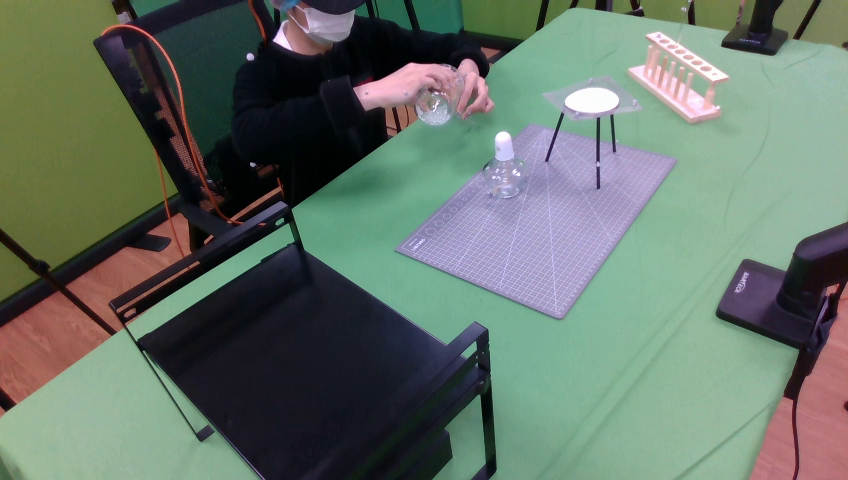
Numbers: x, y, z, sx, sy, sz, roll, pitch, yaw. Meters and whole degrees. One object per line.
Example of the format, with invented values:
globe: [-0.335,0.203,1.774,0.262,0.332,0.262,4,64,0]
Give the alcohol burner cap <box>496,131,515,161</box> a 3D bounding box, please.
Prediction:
alcohol burner cap: [0.135,-0.160,1.019,0.034,0.048,0.033,-8,37,6]

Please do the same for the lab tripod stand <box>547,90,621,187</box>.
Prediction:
lab tripod stand: [0.289,-0.184,1.062,0.148,0.132,0.147,-6,41,6]

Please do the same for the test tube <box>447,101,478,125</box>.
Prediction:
test tube: [0.078,-0.246,1.177,0.017,0.017,0.151,12,3,22]

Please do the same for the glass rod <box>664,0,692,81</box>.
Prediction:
glass rod: [0.524,-0.419,1.240,0.008,0.200,0.008,1,42,-1]

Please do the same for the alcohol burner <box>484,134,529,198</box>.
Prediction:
alcohol burner: [0.141,-0.133,1.041,0.078,0.119,0.077,-5,43,5]

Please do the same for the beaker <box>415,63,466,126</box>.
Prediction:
beaker: [0.029,-0.248,1.053,0.073,0.084,0.100,-4,38,22]

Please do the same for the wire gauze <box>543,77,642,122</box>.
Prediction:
wire gauze: [0.282,-0.236,1.020,0.125,0.011,0.120,-15,40,-6]

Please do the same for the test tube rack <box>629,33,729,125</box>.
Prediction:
test tube rack: [0.516,-0.337,1.247,0.067,0.085,0.240,-14,41,-7]
